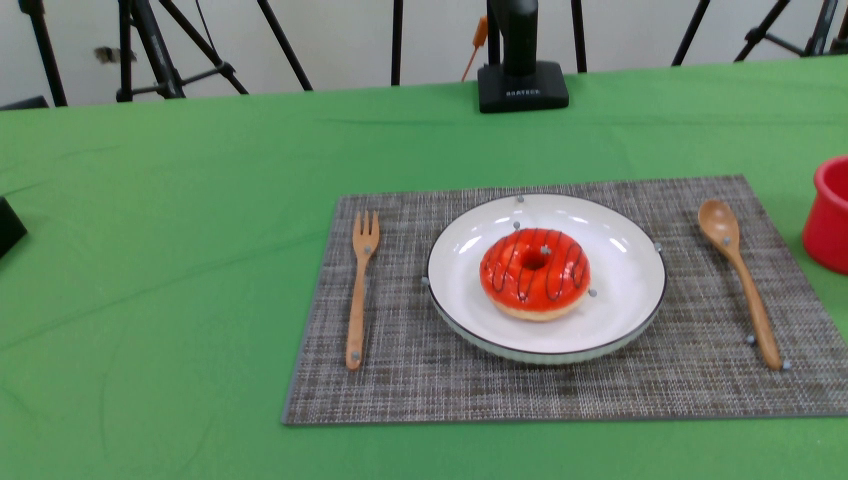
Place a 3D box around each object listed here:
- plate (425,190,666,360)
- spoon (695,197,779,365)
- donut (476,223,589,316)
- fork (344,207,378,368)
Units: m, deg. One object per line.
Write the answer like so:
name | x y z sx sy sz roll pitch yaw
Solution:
plate | 0.106 0.030 0.548 0.209 0.038 0.207 -3 41 3
spoon | 0.279 0.028 0.539 0.042 0.022 0.192 13 41 -5
donut | 0.096 0.025 0.537 0.099 0.049 0.098 -5 43 5
fork | -0.061 0.036 0.577 0.028 0.019 0.205 2 39 -2
